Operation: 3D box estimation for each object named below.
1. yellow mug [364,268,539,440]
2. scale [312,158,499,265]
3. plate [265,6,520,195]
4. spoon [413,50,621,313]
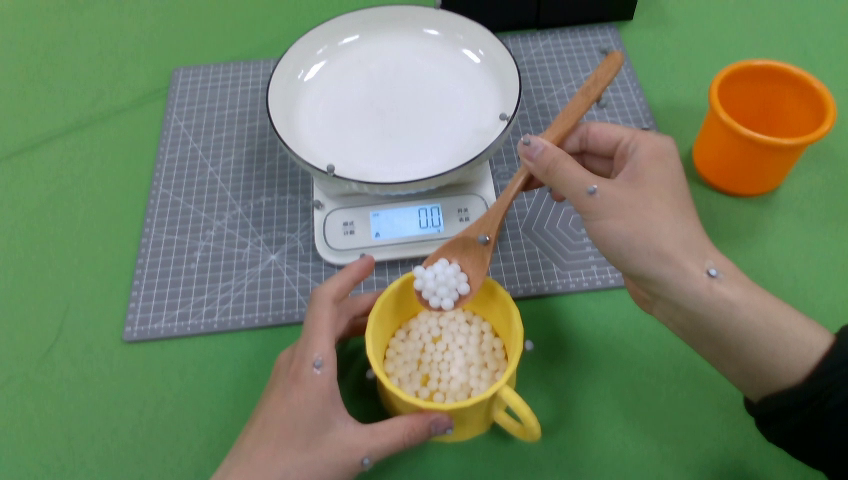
[{"bbox_3d":[0.025,0.083,0.399,0.130,0.064,0.100,39,69,23],"label":"yellow mug"},{"bbox_3d":[-0.022,-0.074,0.519,0.149,0.032,0.199,-6,57,-1],"label":"scale"},{"bbox_3d":[-0.026,-0.117,0.507,0.209,0.038,0.207,-1,57,1],"label":"plate"},{"bbox_3d":[0.058,-0.035,0.369,0.041,0.022,0.194,41,100,27],"label":"spoon"}]
